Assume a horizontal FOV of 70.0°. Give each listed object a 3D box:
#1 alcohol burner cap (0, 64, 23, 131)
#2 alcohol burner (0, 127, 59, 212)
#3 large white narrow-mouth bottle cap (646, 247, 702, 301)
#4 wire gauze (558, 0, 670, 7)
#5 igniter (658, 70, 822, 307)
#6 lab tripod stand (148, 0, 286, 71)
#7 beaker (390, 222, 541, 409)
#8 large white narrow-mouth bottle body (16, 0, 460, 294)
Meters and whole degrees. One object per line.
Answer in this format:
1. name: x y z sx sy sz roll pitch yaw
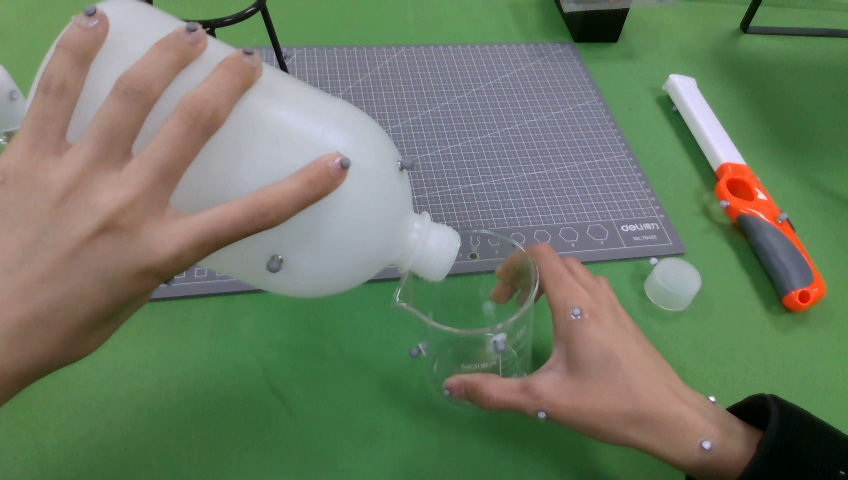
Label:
1. alcohol burner cap: -0.286 -0.099 0.399 0.034 0.048 0.033 3 57 -4
2. alcohol burner: -0.289 -0.077 0.428 0.078 0.120 0.077 4 49 -4
3. large white narrow-mouth bottle cap: 0.190 0.026 0.460 0.038 0.024 0.037 3 51 -3
4. wire gauze: 0.190 -0.289 0.660 0.122 0.011 0.123 -3 52 -11
5. igniter: 0.270 -0.059 0.533 0.057 0.025 0.273 4 51 -17
6. lab tripod stand: -0.161 -0.137 0.474 0.148 0.132 0.147 4 51 -5
7. beaker: 0.027 0.051 0.366 0.084 0.101 0.073 -14 48 -5
8. large white narrow-mouth bottle body: -0.073 -0.029 0.296 0.195 0.102 0.101 24 50 -13
